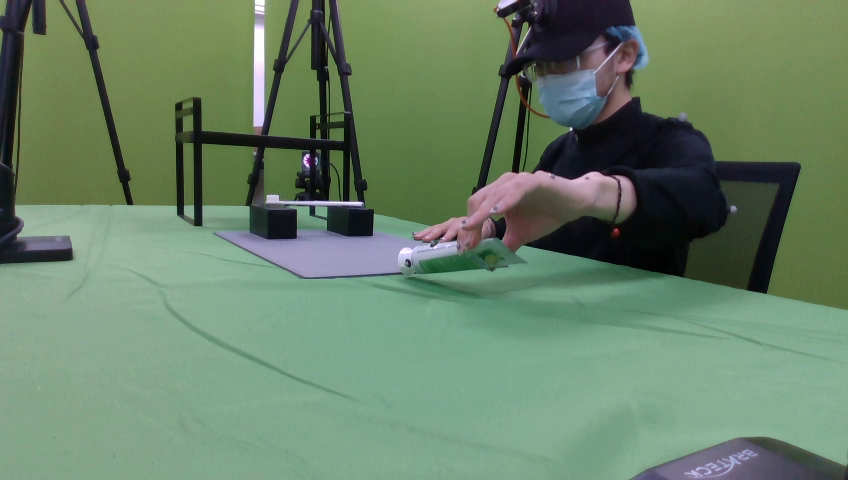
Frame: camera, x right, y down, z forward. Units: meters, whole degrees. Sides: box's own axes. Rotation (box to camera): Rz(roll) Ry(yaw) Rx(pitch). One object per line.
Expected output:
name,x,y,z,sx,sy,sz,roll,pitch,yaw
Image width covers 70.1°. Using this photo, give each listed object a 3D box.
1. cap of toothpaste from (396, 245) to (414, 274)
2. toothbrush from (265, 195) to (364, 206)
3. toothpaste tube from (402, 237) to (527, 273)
cap of toothpaste,-0.019,0.023,0.733,0.011,0.037,0.037,-7,0,39
toothbrush,-0.194,-0.069,1.089,0.183,0.016,0.014,0,-6,-27
toothpaste tube,0.034,0.015,0.674,0.055,0.034,0.164,30,-25,-37
